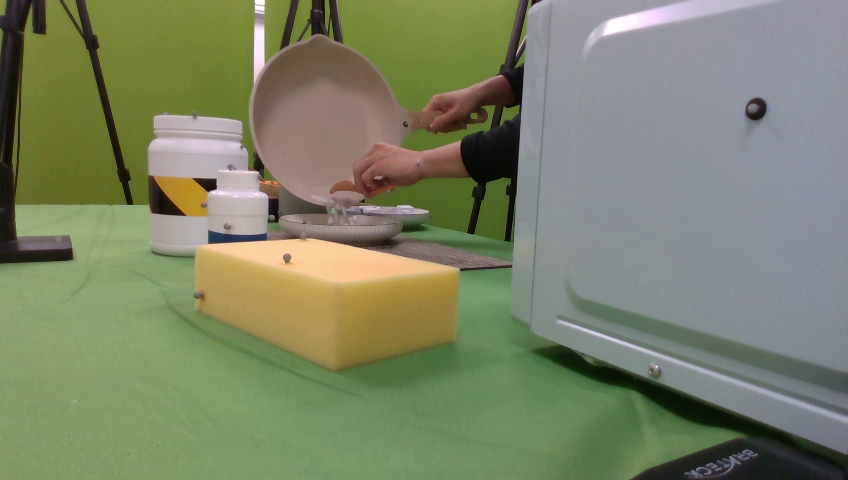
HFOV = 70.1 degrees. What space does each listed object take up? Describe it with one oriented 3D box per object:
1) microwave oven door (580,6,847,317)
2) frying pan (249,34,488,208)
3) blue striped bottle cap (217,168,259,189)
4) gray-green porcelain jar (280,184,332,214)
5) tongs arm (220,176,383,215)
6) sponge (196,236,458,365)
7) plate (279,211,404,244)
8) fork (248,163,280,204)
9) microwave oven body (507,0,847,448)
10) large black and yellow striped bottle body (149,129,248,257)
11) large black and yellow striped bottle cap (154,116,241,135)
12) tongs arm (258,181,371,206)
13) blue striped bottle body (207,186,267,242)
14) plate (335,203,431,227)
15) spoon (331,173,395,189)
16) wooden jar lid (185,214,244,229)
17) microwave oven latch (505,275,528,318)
[{"bbox_3d":[0.295,-0.067,0.570,0.358,0.243,0.039,-3,9,-31],"label":"microwave oven door"},{"bbox_3d":[-0.087,-0.224,1.138,0.490,0.306,0.102,-9,7,-26],"label":"frying pan"},{"bbox_3d":[-0.202,-0.067,0.656,0.044,0.020,0.044,0,10,0],"label":"blue striped bottle cap"},{"bbox_3d":[-0.238,-0.092,1.221,0.106,0.126,0.106,2,8,0],"label":"gray-green porcelain jar"},{"bbox_3d":[-0.285,-0.105,1.445,0.389,0.027,0.028,9,-3,-23],"label":"tongs arm"},{"bbox_3d":[-0.087,0.039,0.500,0.206,0.061,0.119,8,9,44],"label":"sponge"},{"bbox_3d":[-0.139,-0.022,1.020,0.209,0.038,0.209,2,8,0],"label":"plate"},{"bbox_3d":[-0.396,-0.143,1.486,0.028,0.018,0.208,19,-26,44],"label":"fork"},{"bbox_3d":[0.331,-0.042,0.425,0.444,0.260,0.324,-2,8,-31],"label":"microwave oven body"},{"bbox_3d":[-0.315,-0.075,0.854,0.131,0.184,0.130,1,7,0],"label":"large black and yellow striped bottle body"},{"bbox_3d":[-0.314,-0.158,0.843,0.115,0.019,0.115,3,7,0],"label":"large black and yellow striped bottle cap"},{"bbox_3d":[-0.241,-0.095,1.374,0.387,0.026,0.050,9,1,-37],"label":"tongs arm"},{"bbox_3d":[-0.204,-0.016,0.663,0.063,0.120,0.063,2,7,0],"label":"blue striped bottle body"},{"bbox_3d":[-0.089,-0.053,1.309,0.208,0.039,0.207,2,8,0],"label":"plate"},{"bbox_3d":[-0.101,-0.096,1.016,0.042,0.021,0.192,-26,25,-31],"label":"spoon"},{"bbox_3d":[-0.404,-0.037,1.169,0.108,0.020,0.108,3,7,0],"label":"wooden jar lid"},{"bbox_3d":[0.100,0.042,0.472,0.079,0.029,0.030,-2,8,-30],"label":"microwave oven latch"}]
